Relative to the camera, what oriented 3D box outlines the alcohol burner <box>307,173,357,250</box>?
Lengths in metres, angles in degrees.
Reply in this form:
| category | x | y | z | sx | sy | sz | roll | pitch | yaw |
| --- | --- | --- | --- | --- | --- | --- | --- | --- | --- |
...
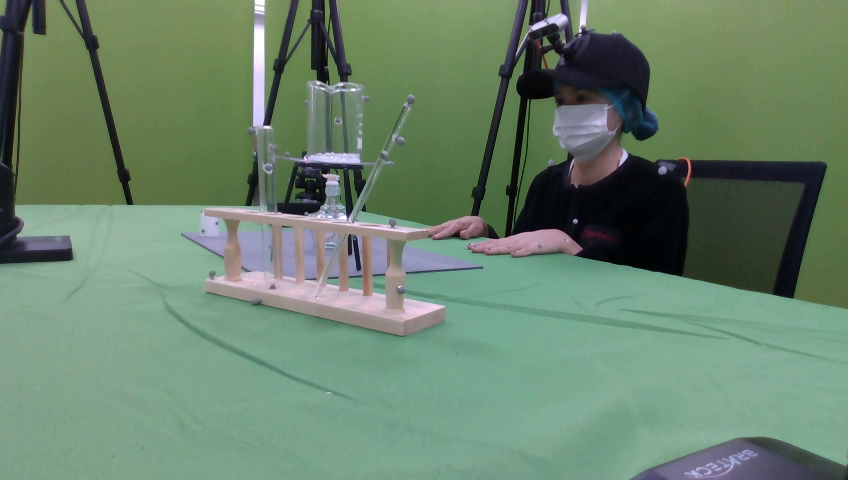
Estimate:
| category | x | y | z | sx | sy | sz | roll | pitch | yaw |
| --- | --- | --- | --- | --- | --- | --- | --- | --- | --- |
| alcohol burner | -0.144 | -0.045 | 0.940 | 0.078 | 0.119 | 0.078 | 1 | 8 | 0 |

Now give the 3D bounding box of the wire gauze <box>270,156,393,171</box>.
| category | x | y | z | sx | sy | sz | roll | pitch | yaw |
| --- | --- | --- | --- | --- | --- | --- | --- | --- | --- |
| wire gauze | -0.122 | -0.100 | 0.786 | 0.122 | 0.011 | 0.124 | -5 | 14 | -38 |

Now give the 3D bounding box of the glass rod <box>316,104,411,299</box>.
| category | x | y | z | sx | sy | sz | roll | pitch | yaw |
| --- | --- | --- | --- | --- | --- | --- | --- | --- | --- |
| glass rod | -0.054 | -0.026 | 0.516 | 0.008 | 0.199 | 0.008 | 23 | 24 | -11 |

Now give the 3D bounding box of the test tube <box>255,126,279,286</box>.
| category | x | y | z | sx | sy | sz | roll | pitch | yaw |
| --- | --- | --- | --- | --- | --- | --- | --- | --- | --- |
| test tube | -0.147 | -0.031 | 0.566 | 0.017 | 0.150 | 0.017 | -1 | 8 | 0 |

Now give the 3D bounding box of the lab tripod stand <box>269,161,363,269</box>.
| category | x | y | z | sx | sy | sz | roll | pitch | yaw |
| --- | --- | --- | --- | --- | --- | --- | --- | --- | --- |
| lab tripod stand | -0.125 | -0.036 | 0.794 | 0.148 | 0.131 | 0.148 | 5 | 7 | 0 |

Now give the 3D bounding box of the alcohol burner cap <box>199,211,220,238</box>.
| category | x | y | z | sx | sy | sz | roll | pitch | yaw |
| --- | --- | --- | --- | --- | --- | --- | --- | --- | --- |
| alcohol burner cap | -0.356 | -0.027 | 1.002 | 0.034 | 0.048 | 0.034 | 2 | 7 | 0 |

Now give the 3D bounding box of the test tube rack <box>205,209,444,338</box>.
| category | x | y | z | sx | sy | sz | roll | pitch | yaw |
| --- | --- | --- | --- | --- | --- | --- | --- | --- | --- |
| test tube rack | -0.100 | 0.021 | 0.565 | 0.241 | 0.085 | 0.067 | 7 | 8 | 32 |

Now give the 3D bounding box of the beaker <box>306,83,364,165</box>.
| category | x | y | z | sx | sy | sz | roll | pitch | yaw |
| --- | --- | --- | --- | --- | --- | --- | --- | --- | --- |
| beaker | -0.115 | -0.147 | 0.775 | 0.074 | 0.100 | 0.084 | 2 | 8 | -2 |
